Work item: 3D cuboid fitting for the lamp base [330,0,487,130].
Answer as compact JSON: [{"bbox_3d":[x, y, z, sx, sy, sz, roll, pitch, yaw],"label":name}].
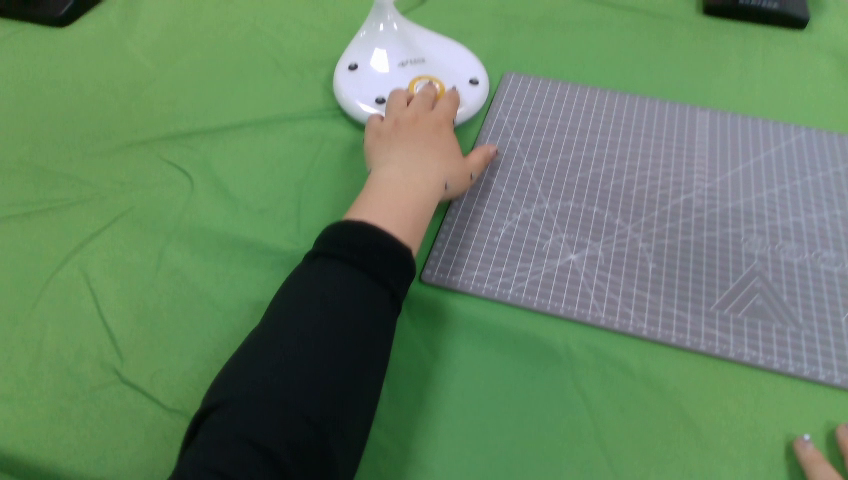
[{"bbox_3d":[-0.023,-0.224,0.569,0.161,0.182,0.177,-26,52,-21],"label":"lamp base"}]
